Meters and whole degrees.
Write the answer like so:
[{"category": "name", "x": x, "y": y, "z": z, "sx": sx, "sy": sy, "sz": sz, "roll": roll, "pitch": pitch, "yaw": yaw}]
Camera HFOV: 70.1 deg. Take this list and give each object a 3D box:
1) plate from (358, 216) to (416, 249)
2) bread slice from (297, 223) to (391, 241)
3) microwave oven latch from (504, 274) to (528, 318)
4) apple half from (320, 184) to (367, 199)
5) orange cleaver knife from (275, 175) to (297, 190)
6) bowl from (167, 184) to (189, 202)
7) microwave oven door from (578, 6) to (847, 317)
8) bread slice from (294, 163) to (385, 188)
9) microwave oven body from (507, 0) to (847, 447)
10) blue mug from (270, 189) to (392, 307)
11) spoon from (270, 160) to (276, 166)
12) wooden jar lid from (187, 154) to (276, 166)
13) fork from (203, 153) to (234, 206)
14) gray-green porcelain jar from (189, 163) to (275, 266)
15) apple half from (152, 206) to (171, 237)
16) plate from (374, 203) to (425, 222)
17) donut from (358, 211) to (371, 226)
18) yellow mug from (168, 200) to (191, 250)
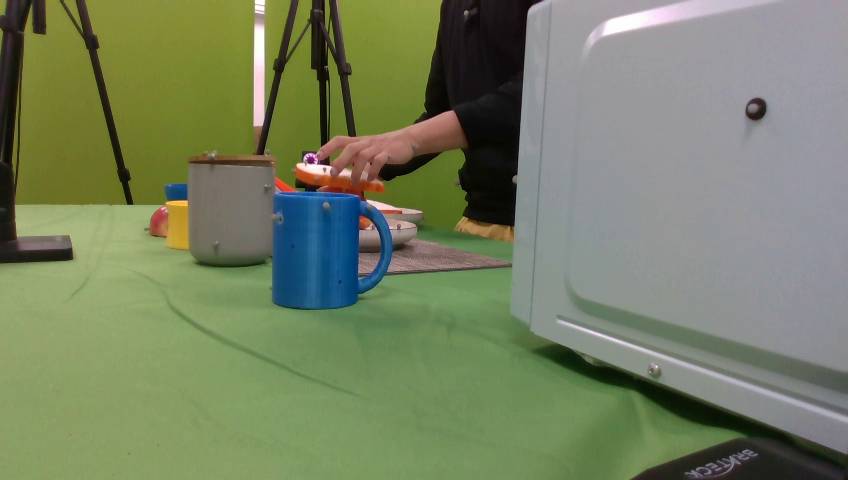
[{"category": "plate", "x": -0.116, "y": -0.014, "z": 0.967, "sx": 0.208, "sy": 0.039, "sz": 0.207, "roll": 2, "pitch": 7, "yaw": 0}, {"category": "bread slice", "x": -0.121, "y": -0.015, "z": 0.970, "sx": 0.106, "sy": 0.018, "sz": 0.135, "roll": 9, "pitch": 9, "yaw": 41}, {"category": "microwave oven latch", "x": 0.100, "y": 0.041, "z": 0.471, "sx": 0.079, "sy": 0.029, "sz": 0.030, "roll": -1, "pitch": 8, "yaw": -28}, {"category": "apple half", "x": -0.129, "y": -0.076, "z": 0.949, "sx": 0.081, "sy": 0.033, "sz": 0.081, "roll": 2, "pitch": 14, "yaw": 0}, {"category": "orange cleaver knife", "x": -0.283, "y": -0.087, "z": 1.343, "sx": 0.212, "sy": 0.077, "sz": 0.012, "roll": 24, "pitch": -16, "yaw": -41}, {"category": "bowl", "x": -0.408, "y": -0.064, "z": 1.154, "sx": 0.151, "sy": 0.077, "sz": 0.151, "roll": 2, "pitch": 8, "yaw": 0}, {"category": "microwave oven door", "x": 0.294, "y": -0.067, "z": 0.570, "sx": 0.358, "sy": 0.243, "sz": 0.039, "roll": -3, "pitch": 9, "yaw": -31}, {"category": "bread slice", "x": -0.136, "y": -0.103, "z": 0.949, "sx": 0.132, "sy": 0.019, "sz": 0.104, "roll": 2, "pitch": 16, "yaw": -22}, {"category": "microwave oven body", "x": 0.331, "y": -0.042, "z": 0.425, "sx": 0.444, "sy": 0.260, "sz": 0.324, "roll": -2, "pitch": 8, "yaw": -31}, {"category": "blue mug", "x": -0.089, "y": 0.005, "z": 0.588, "sx": 0.117, "sy": 0.106, "sz": 0.082, "roll": 1, "pitch": 7, "yaw": -10}, {"category": "spoon", "x": -0.396, "y": -0.150, "z": 1.548, "sx": 0.042, "sy": 0.193, "sz": 0.021, "roll": 2, "pitch": -37, "yaw": -4}, {"category": "wooden jar lid", "x": -0.244, "y": -0.097, "z": 0.771, "sx": 0.108, "sy": 0.020, "sz": 0.108, "roll": -1, "pitch": 7, "yaw": 0}, {"category": "fork", "x": -0.480, "y": -0.136, "z": 1.412, "sx": 0.028, "sy": 0.018, "sz": 0.207, "roll": 1, "pitch": -34, "yaw": -1}, {"category": "gray-green porcelain jar", "x": -0.246, "y": -0.034, "z": 0.780, "sx": 0.106, "sy": 0.126, "sz": 0.106, "roll": 2, "pitch": 7, "yaw": 0}, {"category": "apple half", "x": -0.415, "y": -0.034, "z": 1.017, "sx": 0.081, "sy": 0.053, "sz": 0.074, "roll": 1, "pitch": 10, "yaw": -8}, {"category": "plate", "x": -0.102, "y": -0.053, "z": 1.299, "sx": 0.209, "sy": 0.038, "sz": 0.209, "roll": 2, "pitch": 8, "yaw": 0}, {"category": "donut", "x": -0.130, "y": -0.042, "z": 0.957, "sx": 0.099, "sy": 0.048, "sz": 0.099, "roll": 1, "pitch": 7, "yaw": 0}, {"category": "yellow mug", "x": -0.320, "y": -0.023, "z": 0.904, "sx": 0.130, "sy": 0.064, "sz": 0.100, "roll": 8, "pitch": 10, "yaw": 36}]
